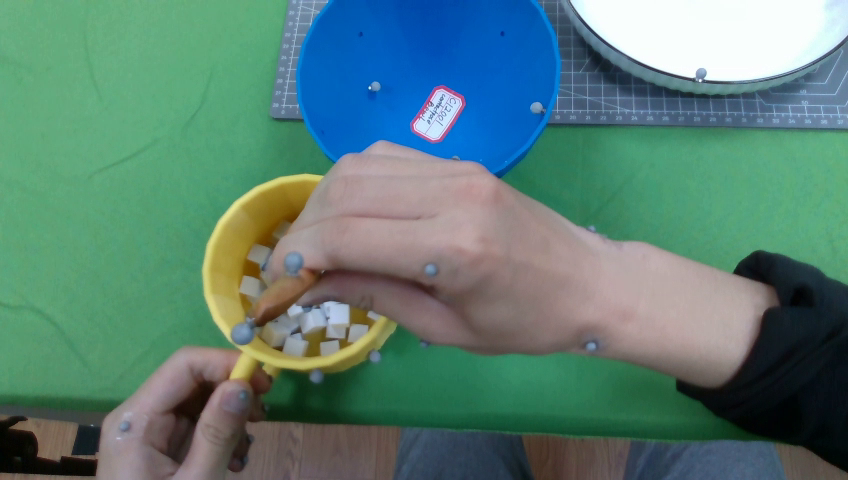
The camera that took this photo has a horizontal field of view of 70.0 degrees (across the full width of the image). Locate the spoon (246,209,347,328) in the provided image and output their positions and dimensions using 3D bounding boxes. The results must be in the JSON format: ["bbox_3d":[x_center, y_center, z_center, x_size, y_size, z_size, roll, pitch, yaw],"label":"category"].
[{"bbox_3d":[-0.050,0.008,0.258,0.041,0.192,0.022,-33,103,-1],"label":"spoon"}]

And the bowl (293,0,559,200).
[{"bbox_3d":[0.004,-0.086,0.376,0.151,0.077,0.150,-1,74,5],"label":"bowl"}]

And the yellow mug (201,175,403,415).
[{"bbox_3d":[-0.069,0.035,0.328,0.100,0.064,0.130,28,78,4],"label":"yellow mug"}]

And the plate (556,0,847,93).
[{"bbox_3d":[0.188,-0.186,0.417,0.209,0.038,0.207,-1,70,4],"label":"plate"}]
